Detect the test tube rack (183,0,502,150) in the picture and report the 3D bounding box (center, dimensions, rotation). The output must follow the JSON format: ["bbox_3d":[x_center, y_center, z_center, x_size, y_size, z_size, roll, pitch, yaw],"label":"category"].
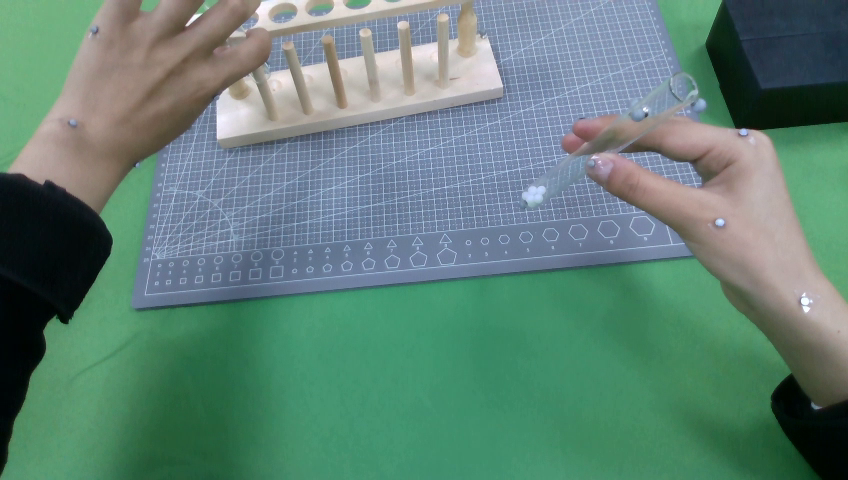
[{"bbox_3d":[-0.060,-0.147,0.495,0.242,0.086,0.066,-11,61,-1],"label":"test tube rack"}]

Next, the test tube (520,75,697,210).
[{"bbox_3d":[0.093,-0.047,0.339,0.017,0.150,0.017,6,71,-18],"label":"test tube"}]

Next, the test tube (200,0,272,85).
[{"bbox_3d":[-0.142,-0.162,0.410,0.017,0.152,0.017,-6,60,11],"label":"test tube"}]
